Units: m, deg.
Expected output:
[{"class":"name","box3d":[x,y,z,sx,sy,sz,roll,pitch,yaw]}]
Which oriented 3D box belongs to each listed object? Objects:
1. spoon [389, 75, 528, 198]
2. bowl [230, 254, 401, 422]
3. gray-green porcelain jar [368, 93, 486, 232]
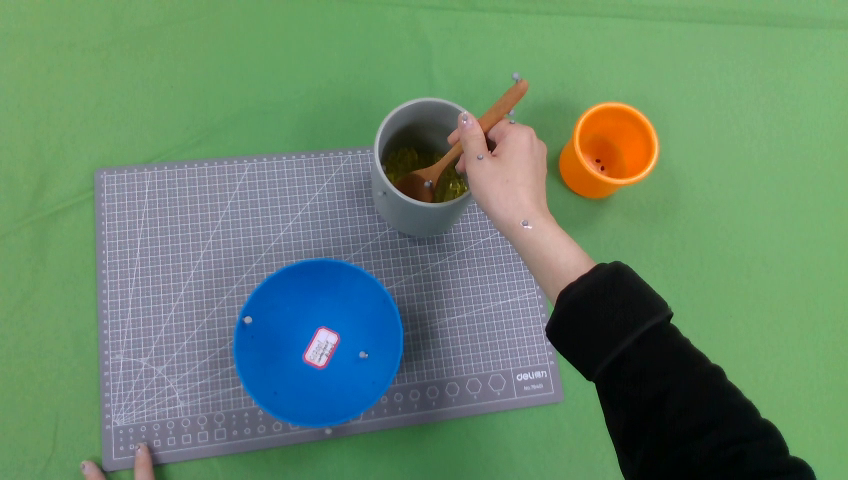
[{"class":"spoon","box3d":[0.024,-0.081,0.541,0.041,0.194,0.021,54,44,2]},{"class":"bowl","box3d":[-0.100,0.094,0.576,0.152,0.077,0.150,2,77,-7]},{"class":"gray-green porcelain jar","box3d":[-0.002,-0.069,0.599,0.106,0.127,0.105,2,77,-6]}]
